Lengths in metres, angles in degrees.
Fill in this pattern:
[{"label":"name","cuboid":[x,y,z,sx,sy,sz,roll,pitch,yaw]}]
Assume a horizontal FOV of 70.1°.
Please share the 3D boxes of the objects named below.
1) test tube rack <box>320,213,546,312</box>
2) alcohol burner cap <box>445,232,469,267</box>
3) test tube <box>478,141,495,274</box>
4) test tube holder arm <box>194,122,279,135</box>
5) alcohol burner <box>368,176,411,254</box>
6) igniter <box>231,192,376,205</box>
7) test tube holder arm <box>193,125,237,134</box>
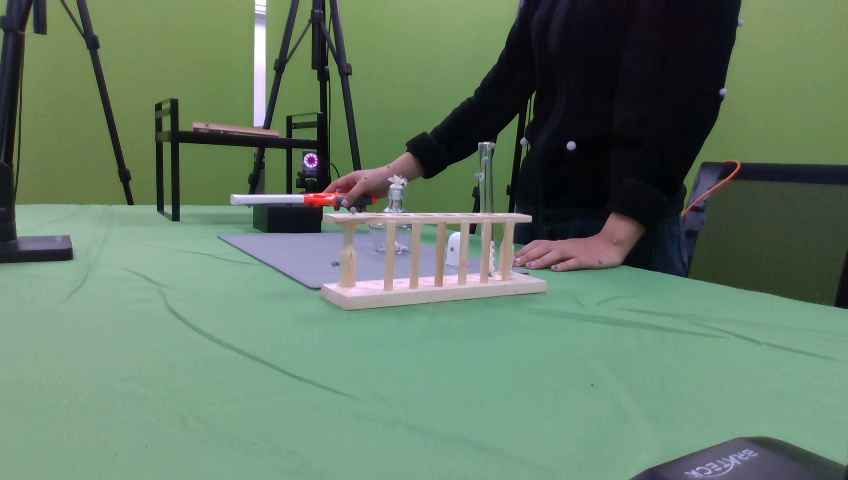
[{"label":"test tube rack","cuboid":[0.017,0.017,0.638,0.244,0.085,0.066,-2,9,-31]},{"label":"alcohol burner cap","cuboid":[0.045,0.013,0.829,0.034,0.048,0.034,2,7,0]},{"label":"test tube","cuboid":[0.071,-0.036,0.683,0.017,0.150,0.017,-2,8,1]},{"label":"test tube holder arm","cuboid":[-0.401,-0.238,1.301,0.179,0.015,0.013,-2,-21,-29]},{"label":"alcohol burner","cuboid":[-0.045,-0.038,0.913,0.078,0.119,0.078,5,7,0]},{"label":"igniter","cuboid":[-0.225,-0.079,1.163,0.278,0.025,0.057,-2,11,-27]},{"label":"test tube holder arm","cuboid":[-0.443,-0.235,1.284,0.088,0.015,0.010,-2,-21,-28]}]
